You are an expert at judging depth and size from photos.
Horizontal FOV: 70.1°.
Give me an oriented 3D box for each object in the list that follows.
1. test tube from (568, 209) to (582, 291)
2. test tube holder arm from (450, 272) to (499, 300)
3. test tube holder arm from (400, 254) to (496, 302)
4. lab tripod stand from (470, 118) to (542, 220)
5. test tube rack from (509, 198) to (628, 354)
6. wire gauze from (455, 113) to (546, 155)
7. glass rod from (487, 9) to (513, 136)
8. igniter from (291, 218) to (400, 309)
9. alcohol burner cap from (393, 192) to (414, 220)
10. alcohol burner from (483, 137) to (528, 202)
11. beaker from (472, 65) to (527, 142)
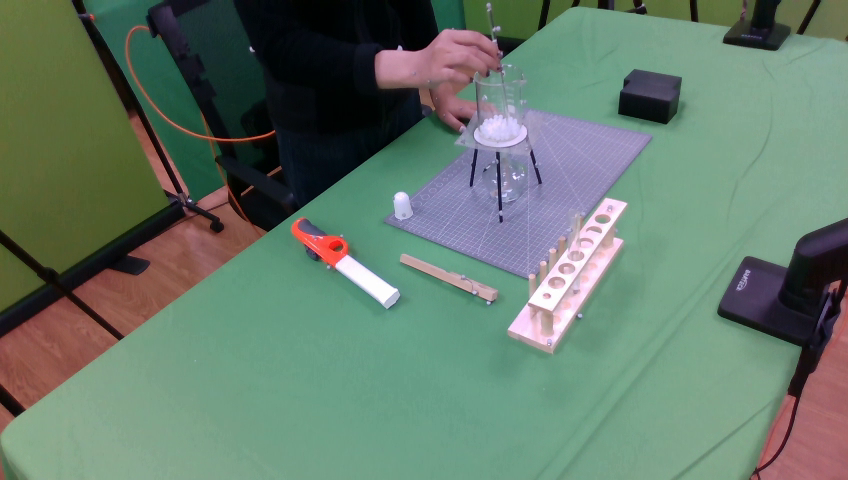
[{"bbox_3d":[0.200,0.018,0.799,0.017,0.151,0.017,-8,45,8],"label":"test tube"},{"bbox_3d":[0.071,0.068,0.895,0.087,0.015,0.010,22,17,33],"label":"test tube holder arm"},{"bbox_3d":[0.033,0.055,0.915,0.177,0.015,0.013,21,17,33],"label":"test tube holder arm"},{"bbox_3d":[0.135,-0.128,1.019,0.148,0.132,0.147,-5,38,5],"label":"lab tripod stand"},{"bbox_3d":[0.206,0.039,0.850,0.066,0.085,0.243,20,48,31],"label":"test tube rack"},{"bbox_3d":[0.124,-0.175,0.973,0.124,0.011,0.121,8,40,21],"label":"wire gauze"},{"bbox_3d":[0.114,-0.242,0.894,0.008,0.201,0.008,-11,36,9],"label":"glass rod"},{"bbox_3d":[-0.135,0.031,0.970,0.057,0.025,0.274,-41,49,-19],"label":"igniter"},{"bbox_3d":[-0.038,-0.061,1.043,0.034,0.048,0.033,-5,41,5],"label":"alcohol burner cap"},{"bbox_3d":[0.138,-0.125,1.030,0.078,0.119,0.077,-4,41,4],"label":"alcohol burner"},{"bbox_3d":[0.120,-0.211,0.942,0.083,0.101,0.074,10,42,21],"label":"beaker"}]
